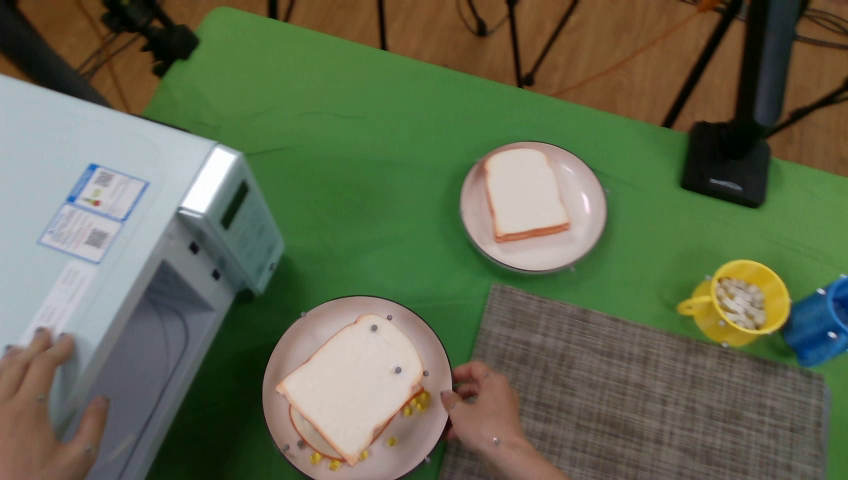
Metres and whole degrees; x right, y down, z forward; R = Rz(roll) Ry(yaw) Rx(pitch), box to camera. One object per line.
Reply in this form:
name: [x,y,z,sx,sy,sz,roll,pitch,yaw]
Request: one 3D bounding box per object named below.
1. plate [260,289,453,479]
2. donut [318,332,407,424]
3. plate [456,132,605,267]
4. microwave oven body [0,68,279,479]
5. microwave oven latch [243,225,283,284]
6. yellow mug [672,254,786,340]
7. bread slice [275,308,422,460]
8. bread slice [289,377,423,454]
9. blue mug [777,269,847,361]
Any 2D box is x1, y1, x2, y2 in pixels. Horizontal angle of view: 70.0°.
plate: [-0.073,0.157,0.672,0.209,0.038,0.207,2,69,-5]
donut: [-0.065,0.147,0.647,0.099,0.048,0.098,10,62,-18]
plate: [0.148,-0.056,0.859,0.208,0.039,0.206,1,67,-1]
microwave oven body: [-0.410,0.088,0.660,0.325,0.262,0.439,18,68,6]
microwave oven latch: [-0.215,0.016,0.799,0.030,0.030,0.079,21,69,7]
yellow mug: [0.393,0.077,0.794,0.131,0.064,0.099,-4,67,-2]
bread slice: [-0.069,0.135,0.618,0.107,0.018,0.134,42,62,2]
bread slice: [-0.080,0.169,0.670,0.104,0.019,0.131,41,68,12]
blue mug: [0.508,0.105,0.764,0.082,0.106,0.116,36,71,14]
